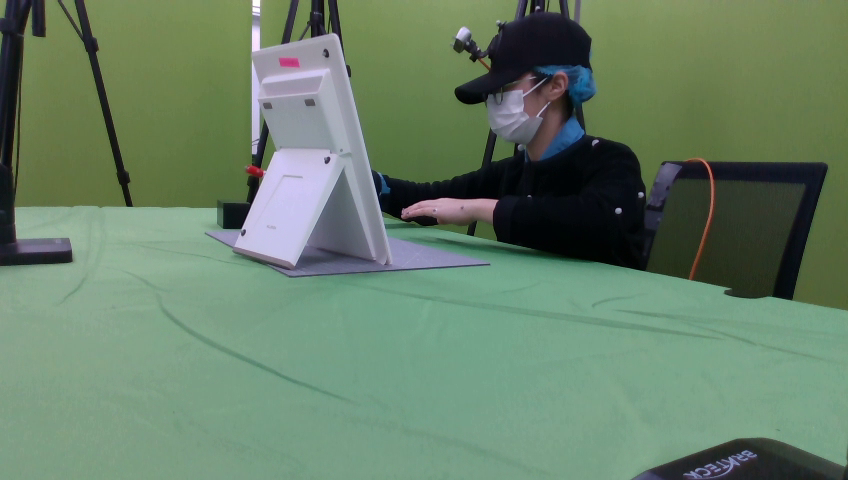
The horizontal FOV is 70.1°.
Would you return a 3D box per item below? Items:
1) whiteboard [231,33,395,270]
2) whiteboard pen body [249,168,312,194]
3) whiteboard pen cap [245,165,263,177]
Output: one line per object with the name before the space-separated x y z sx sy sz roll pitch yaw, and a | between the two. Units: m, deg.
whiteboard | -0.193 -0.094 0.805 0.144 0.305 0.216 -28 25 -35
whiteboard pen body | -0.290 -0.121 1.230 0.141 0.017 0.017 20 -5 -37
whiteboard pen cap | -0.334 -0.136 1.194 0.032 0.017 0.017 21 -5 -36
